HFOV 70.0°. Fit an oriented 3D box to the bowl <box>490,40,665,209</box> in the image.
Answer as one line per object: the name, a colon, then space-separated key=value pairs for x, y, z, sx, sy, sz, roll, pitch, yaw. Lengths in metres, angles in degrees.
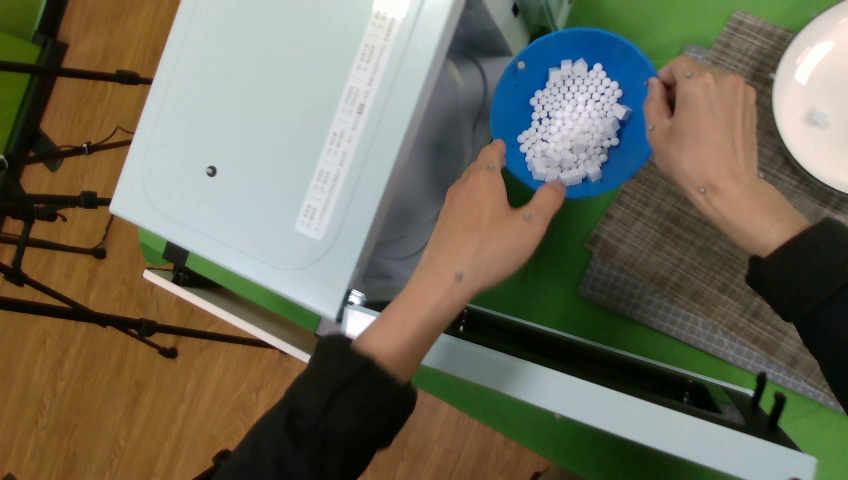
bowl: x=0.142 y=-0.101 z=0.571 sx=0.151 sy=0.077 sz=0.151 roll=0 pitch=89 yaw=14

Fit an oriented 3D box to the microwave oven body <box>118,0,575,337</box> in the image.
microwave oven body: x=-0.067 y=-0.160 z=0.653 sx=0.324 sy=0.261 sz=0.442 roll=22 pitch=94 yaw=19

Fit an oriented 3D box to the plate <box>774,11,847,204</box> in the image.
plate: x=0.452 y=-0.126 z=0.582 sx=0.208 sy=0.038 sz=0.208 roll=-2 pitch=84 yaw=19

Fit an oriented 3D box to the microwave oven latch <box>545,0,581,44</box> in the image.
microwave oven latch: x=0.158 y=-0.264 z=0.683 sx=0.030 sy=0.029 sz=0.079 roll=23 pitch=94 yaw=19

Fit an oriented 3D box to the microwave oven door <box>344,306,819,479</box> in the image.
microwave oven door: x=0.134 y=0.128 z=0.555 sx=0.354 sy=0.245 sz=0.039 roll=14 pitch=90 yaw=20
